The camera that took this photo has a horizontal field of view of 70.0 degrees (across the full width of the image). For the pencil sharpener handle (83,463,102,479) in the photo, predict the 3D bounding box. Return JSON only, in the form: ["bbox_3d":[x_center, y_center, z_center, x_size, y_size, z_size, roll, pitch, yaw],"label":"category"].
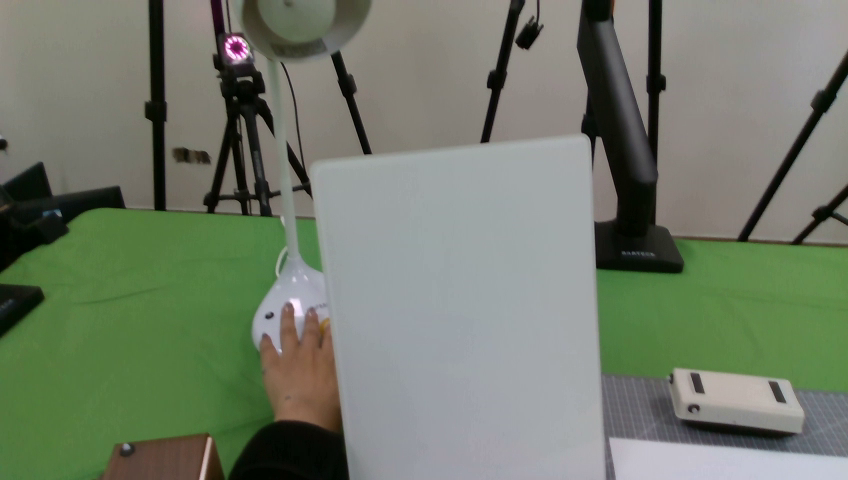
[{"bbox_3d":[-0.241,0.192,0.429,0.031,0.068,0.035,-5,18,-7],"label":"pencil sharpener handle"}]

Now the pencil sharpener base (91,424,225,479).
[{"bbox_3d":[-0.190,0.197,0.445,0.077,0.108,0.061,-5,31,-7],"label":"pencil sharpener base"}]

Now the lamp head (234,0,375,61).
[{"bbox_3d":[-0.113,-0.226,0.501,0.113,0.113,0.121,-17,59,-26],"label":"lamp head"}]

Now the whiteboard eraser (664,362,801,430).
[{"bbox_3d":[0.296,0.152,0.588,0.112,0.042,0.055,6,32,9],"label":"whiteboard eraser"}]

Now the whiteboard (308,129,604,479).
[{"bbox_3d":[0.023,0.066,0.536,0.218,0.306,0.143,-8,11,-12],"label":"whiteboard"}]

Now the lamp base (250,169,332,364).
[{"bbox_3d":[-0.131,0.020,0.684,0.161,0.181,0.177,-23,35,-35],"label":"lamp base"}]
